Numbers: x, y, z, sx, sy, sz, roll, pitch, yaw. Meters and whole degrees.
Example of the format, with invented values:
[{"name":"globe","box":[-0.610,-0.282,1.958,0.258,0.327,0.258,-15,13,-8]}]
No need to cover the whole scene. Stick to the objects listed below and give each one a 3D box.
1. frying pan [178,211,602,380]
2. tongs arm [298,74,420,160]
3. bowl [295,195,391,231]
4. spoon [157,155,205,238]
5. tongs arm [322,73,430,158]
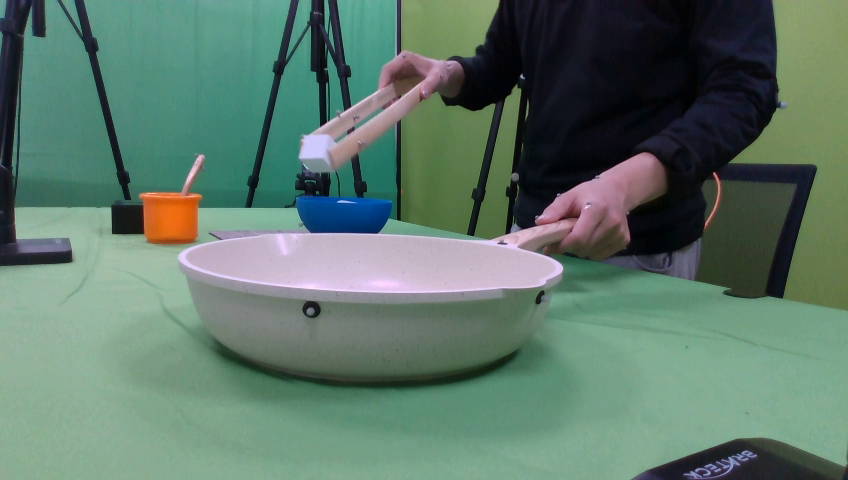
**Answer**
[{"name":"frying pan","box":[0.034,0.018,0.557,0.490,0.102,0.305,-15,19,-42]},{"name":"tongs arm","box":[-0.075,-0.185,0.856,0.050,0.026,0.385,-3,24,17]},{"name":"bowl","box":[-0.127,-0.028,0.946,0.151,0.077,0.151,2,7,0]},{"name":"spoon","box":[-0.392,-0.076,0.998,0.041,0.193,0.021,2,-36,5]},{"name":"tongs arm","box":[-0.053,-0.185,0.848,0.028,0.028,0.388,-5,23,22]}]
